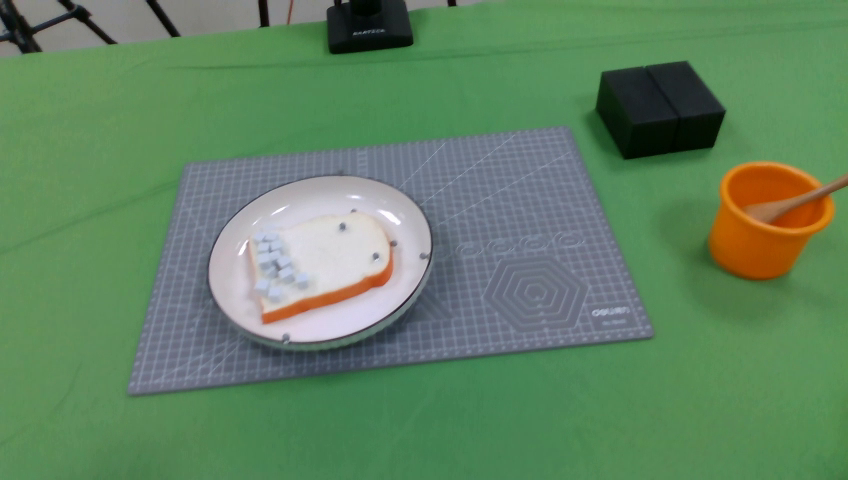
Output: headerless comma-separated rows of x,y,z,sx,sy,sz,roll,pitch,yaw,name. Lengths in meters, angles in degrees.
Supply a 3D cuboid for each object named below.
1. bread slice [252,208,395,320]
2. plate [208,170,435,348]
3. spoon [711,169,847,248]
-0.095,0.013,0.576,0.132,0.019,0.103,-18,50,-9,bread slice
-0.093,0.016,0.570,0.209,0.038,0.207,-2,49,2,plate
0.337,-0.046,0.517,0.193,0.022,0.041,-31,36,32,spoon
